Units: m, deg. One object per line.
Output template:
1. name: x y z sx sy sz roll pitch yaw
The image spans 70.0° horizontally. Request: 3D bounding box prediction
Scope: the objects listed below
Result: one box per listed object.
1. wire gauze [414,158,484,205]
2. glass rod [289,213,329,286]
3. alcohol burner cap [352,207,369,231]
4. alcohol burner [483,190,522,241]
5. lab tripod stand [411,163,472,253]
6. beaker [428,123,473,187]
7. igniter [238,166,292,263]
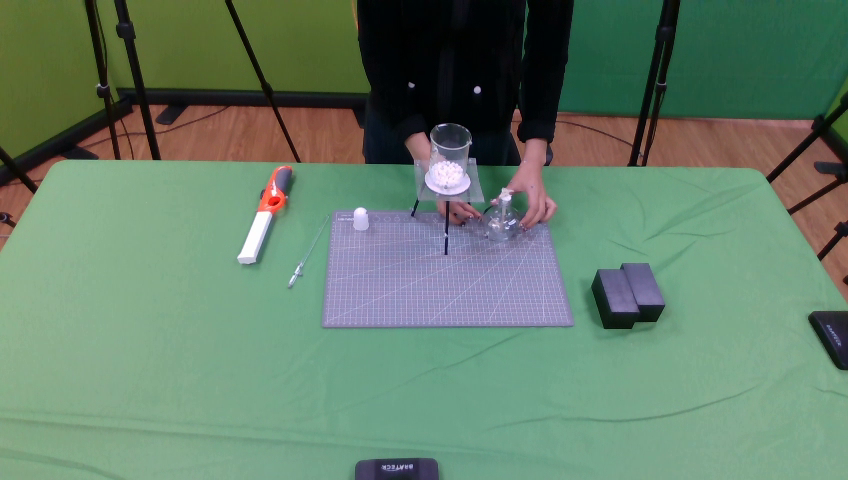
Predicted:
1. wire gauze: 0.045 -0.113 1.137 0.125 0.011 0.120 1 48 -6
2. glass rod: -0.221 0.014 1.179 0.008 0.008 0.199 12 46 8
3. alcohol burner cap: -0.128 -0.046 1.215 0.034 0.048 0.033 3 46 -3
4. alcohol burner: 0.157 -0.055 1.195 0.078 0.120 0.077 2 48 -2
5. lab tripod stand: 0.043 -0.069 1.187 0.148 0.132 0.147 3 47 -3
6. beaker: 0.044 -0.154 1.109 0.074 0.101 0.083 -25 54 -25
7. igniter: -0.318 -0.060 1.229 0.057 0.025 0.275 -2 45 10
